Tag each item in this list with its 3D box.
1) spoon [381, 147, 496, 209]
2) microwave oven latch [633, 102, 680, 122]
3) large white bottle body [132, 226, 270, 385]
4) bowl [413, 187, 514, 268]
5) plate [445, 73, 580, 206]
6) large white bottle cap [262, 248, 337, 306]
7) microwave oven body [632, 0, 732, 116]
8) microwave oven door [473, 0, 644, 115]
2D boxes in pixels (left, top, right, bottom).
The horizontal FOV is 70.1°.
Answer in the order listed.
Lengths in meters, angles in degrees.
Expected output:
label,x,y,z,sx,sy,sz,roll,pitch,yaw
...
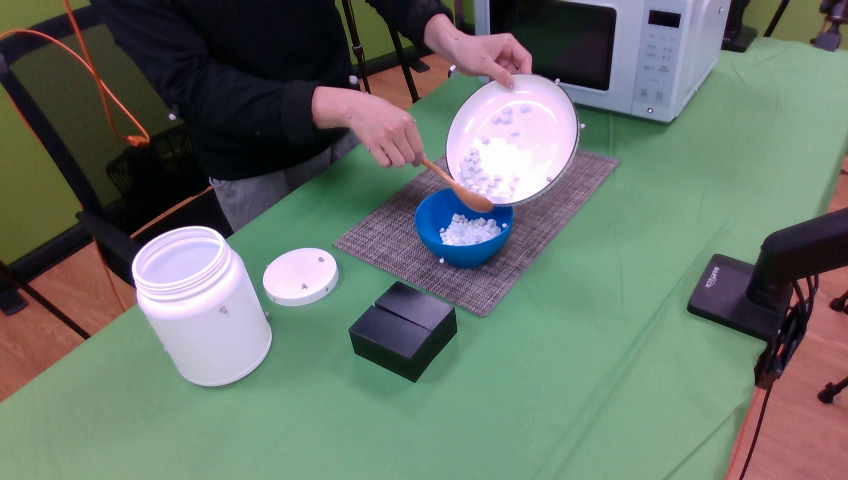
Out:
label,x,y,z,sx,sy,sz,roll,pitch,yaw
spoon,0.018,-0.092,0.885,0.193,0.042,0.021,32,75,17
microwave oven latch,0.443,-0.249,1.157,0.078,0.029,0.030,21,49,30
large white bottle body,-0.286,0.085,0.784,0.130,0.185,0.130,-4,41,4
bowl,0.063,-0.010,0.922,0.151,0.077,0.150,-4,40,4
plate,0.132,-0.147,0.909,0.208,0.038,0.208,-7,74,26
large white bottle cap,-0.193,0.056,0.934,0.115,0.018,0.114,-4,41,4
microwave oven body,0.377,-0.463,1.267,0.438,0.261,0.327,21,48,30
microwave oven door,0.257,-0.396,1.199,0.353,0.245,0.039,21,48,29
